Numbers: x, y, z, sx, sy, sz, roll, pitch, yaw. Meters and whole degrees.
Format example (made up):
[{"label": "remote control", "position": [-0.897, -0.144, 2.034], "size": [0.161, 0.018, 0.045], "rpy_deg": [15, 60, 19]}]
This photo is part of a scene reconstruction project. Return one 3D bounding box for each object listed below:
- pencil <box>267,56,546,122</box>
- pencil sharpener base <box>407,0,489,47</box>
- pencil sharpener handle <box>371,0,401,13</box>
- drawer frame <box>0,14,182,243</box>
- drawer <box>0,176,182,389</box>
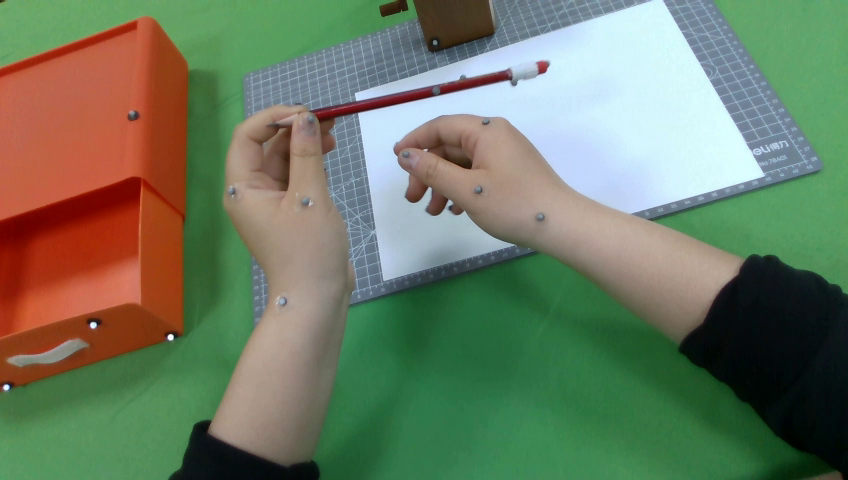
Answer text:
[{"label": "pencil", "position": [-0.006, -0.098, 0.394], "size": [0.194, 0.012, 0.012], "rpy_deg": [-16, 57, -17]}, {"label": "pencil sharpener base", "position": [0.012, -0.241, 0.554], "size": [0.076, 0.108, 0.061], "rpy_deg": [-15, 59, 8]}, {"label": "pencil sharpener handle", "position": [-0.041, -0.235, 0.551], "size": [0.030, 0.068, 0.035], "rpy_deg": [-15, 65, 8]}, {"label": "drawer frame", "position": [-0.342, -0.092, 0.586], "size": [0.201, 0.083, 0.211], "rpy_deg": [-18, 58, 6]}, {"label": "drawer", "position": [-0.317, 0.006, 0.529], "size": [0.194, 0.074, 0.209], "rpy_deg": [-18, 58, 6]}]
